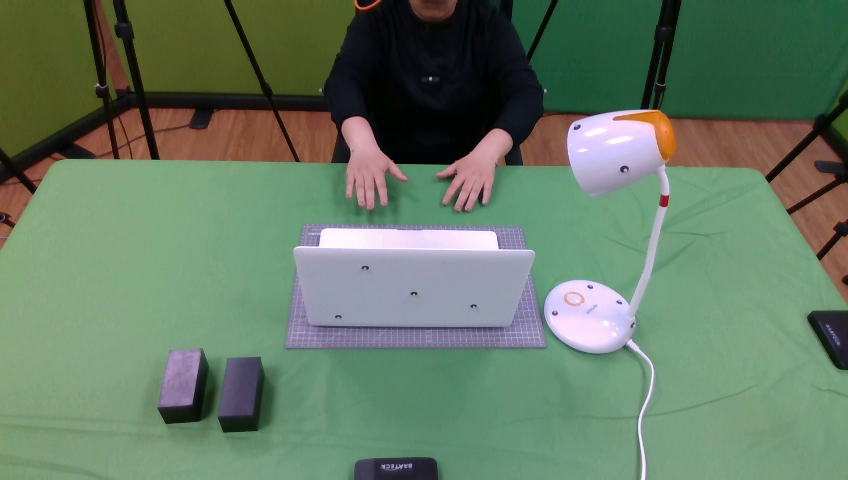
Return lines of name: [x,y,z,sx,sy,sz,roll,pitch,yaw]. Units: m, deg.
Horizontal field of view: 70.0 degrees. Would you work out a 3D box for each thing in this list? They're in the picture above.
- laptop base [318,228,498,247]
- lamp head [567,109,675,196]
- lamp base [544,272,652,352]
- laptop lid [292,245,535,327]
laptop base: [-0.028,0.066,1.134,0.355,0.023,0.234,1,43,-4]
lamp head: [0.272,-0.123,0.818,0.122,0.113,0.112,-9,35,37]
lamp base: [0.310,0.086,1.029,0.178,0.181,0.160,32,52,21]
laptop lid: [-0.018,0.080,0.956,0.357,0.243,0.013,2,54,-5]
